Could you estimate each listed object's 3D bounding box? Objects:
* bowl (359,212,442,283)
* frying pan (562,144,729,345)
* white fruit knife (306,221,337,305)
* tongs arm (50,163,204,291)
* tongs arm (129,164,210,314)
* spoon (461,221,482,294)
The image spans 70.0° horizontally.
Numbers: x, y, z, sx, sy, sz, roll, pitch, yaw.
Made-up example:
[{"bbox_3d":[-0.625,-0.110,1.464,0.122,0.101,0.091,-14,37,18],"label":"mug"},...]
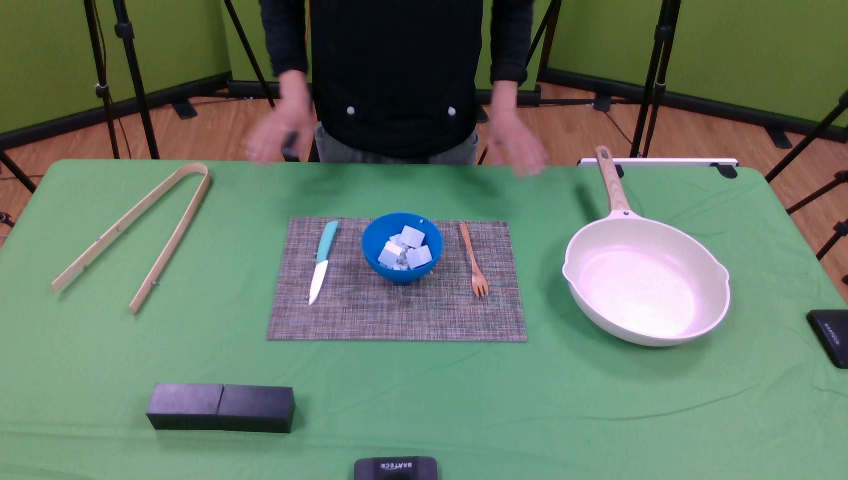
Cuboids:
[{"bbox_3d":[-0.044,0.026,1.125,0.151,0.077,0.150,2,46,-2],"label":"bowl"},{"bbox_3d":[0.396,-0.008,1.179,0.307,0.103,0.484,1,55,-4],"label":"frying pan"},{"bbox_3d":[-0.196,0.040,1.143,0.027,0.016,0.206,-1,46,8],"label":"white fruit knife"},{"bbox_3d":[-0.561,-0.036,1.178,0.050,0.026,0.383,17,46,10],"label":"tongs arm"},{"bbox_3d":[-0.483,-0.016,1.170,0.028,0.028,0.385,5,46,4],"label":"tongs arm"},{"bbox_3d":[0.087,0.031,1.169,0.042,0.022,0.192,11,47,-14],"label":"spoon"}]
